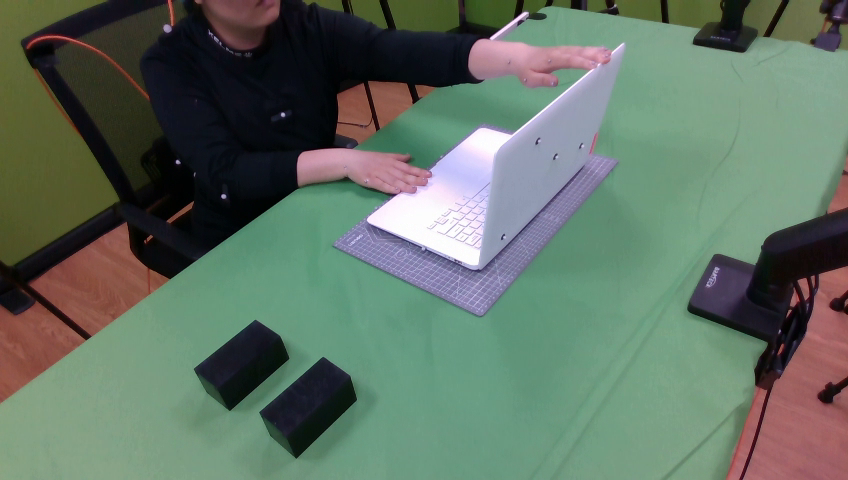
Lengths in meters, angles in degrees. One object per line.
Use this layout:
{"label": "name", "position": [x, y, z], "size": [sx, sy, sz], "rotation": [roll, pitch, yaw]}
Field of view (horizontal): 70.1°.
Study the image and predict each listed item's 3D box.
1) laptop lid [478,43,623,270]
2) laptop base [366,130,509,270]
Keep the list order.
{"label": "laptop lid", "position": [0.194, -0.128, 0.911], "size": [0.013, 0.242, 0.358], "rotation": [31, 51, 24]}
{"label": "laptop base", "position": [0.098, -0.085, 1.058], "size": [0.233, 0.023, 0.355], "rotation": [21, 47, 34]}
